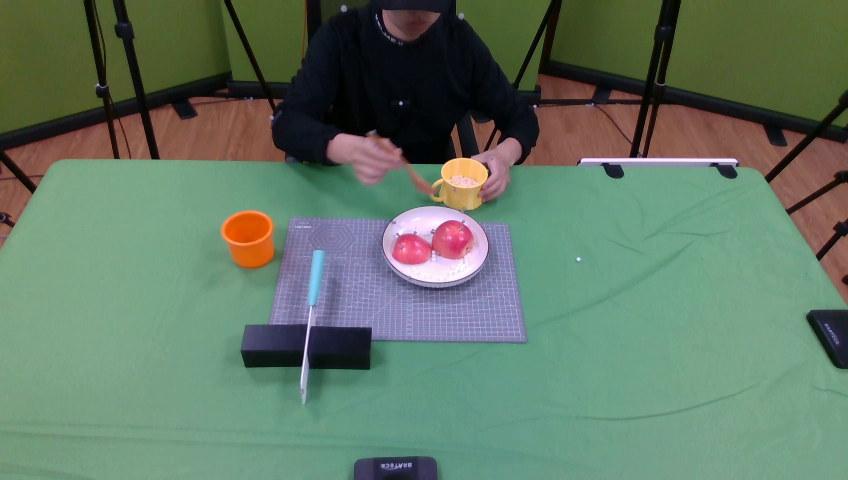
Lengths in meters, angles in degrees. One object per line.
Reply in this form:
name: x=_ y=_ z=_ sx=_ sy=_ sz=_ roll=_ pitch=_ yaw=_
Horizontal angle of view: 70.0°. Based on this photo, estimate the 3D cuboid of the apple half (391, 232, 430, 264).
apple half: x=-0.024 y=0.009 z=1.163 sx=0.081 sy=0.033 sz=0.081 roll=2 pitch=44 yaw=-2

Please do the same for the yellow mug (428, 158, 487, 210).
yellow mug: x=0.067 y=-0.115 z=1.284 sx=0.131 sy=0.064 sz=0.099 roll=-19 pitch=48 yaw=-18

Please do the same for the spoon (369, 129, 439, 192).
spoon: x=-0.036 y=-0.142 z=1.106 sx=0.041 sy=0.195 sz=0.021 roll=7 pitch=61 yaw=46

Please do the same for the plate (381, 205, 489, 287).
plate: x=0.021 y=0.015 z=1.170 sx=0.209 sy=0.038 sz=0.208 roll=2 pitch=46 yaw=-2

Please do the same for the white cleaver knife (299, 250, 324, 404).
white cleaver knife: x=-0.194 y=0.134 z=1.019 sx=0.021 sy=0.066 sz=0.284 roll=5 pitch=50 yaw=-5

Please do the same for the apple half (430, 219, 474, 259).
apple half: x=0.056 y=-0.007 z=1.172 sx=0.081 sy=0.053 sz=0.074 roll=-33 pitch=59 yaw=-31
